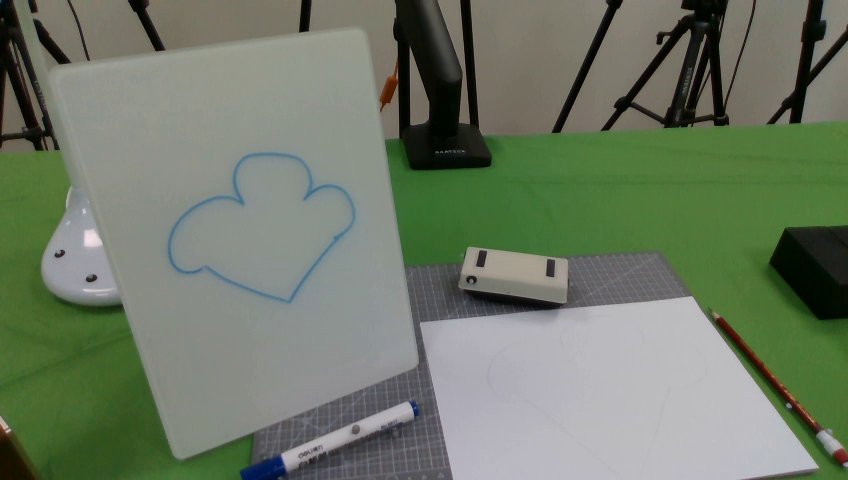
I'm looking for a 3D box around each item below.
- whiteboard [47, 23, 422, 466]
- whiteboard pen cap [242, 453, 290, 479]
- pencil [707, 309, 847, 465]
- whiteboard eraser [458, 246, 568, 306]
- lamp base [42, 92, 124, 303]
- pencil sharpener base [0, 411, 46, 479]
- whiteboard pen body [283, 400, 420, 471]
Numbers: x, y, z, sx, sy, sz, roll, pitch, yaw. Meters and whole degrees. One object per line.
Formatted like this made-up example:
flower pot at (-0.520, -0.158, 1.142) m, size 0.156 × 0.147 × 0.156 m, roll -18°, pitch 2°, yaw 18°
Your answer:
whiteboard at (-0.147, -0.010, 0.524) m, size 0.218 × 0.307 × 0.142 m, roll -17°, pitch 21°, yaw -23°
whiteboard pen cap at (-0.120, 0.175, 0.460) m, size 0.033 × 0.018 × 0.018 m, roll -18°, pitch 41°, yaw -23°
pencil at (0.324, 0.127, 0.568) m, size 0.012 × 0.012 × 0.192 m, roll -7°, pitch 36°, yaw -12°
whiteboard eraser at (0.095, 0.039, 0.640) m, size 0.112 × 0.042 × 0.055 m, roll 8°, pitch 38°, yaw 7°
lamp base at (-0.337, -0.052, 0.625) m, size 0.178 × 0.182 × 0.160 m, roll 21°, pitch 40°, yaw 27°
pencil sharpener base at (-0.303, 0.163, 0.398) m, size 0.061 × 0.108 × 0.076 m, roll 28°, pitch 44°, yaw 30°
whiteboard pen body at (-0.067, 0.159, 0.483) m, size 0.141 × 0.017 × 0.017 m, roll -17°, pitch 41°, yaw -22°
